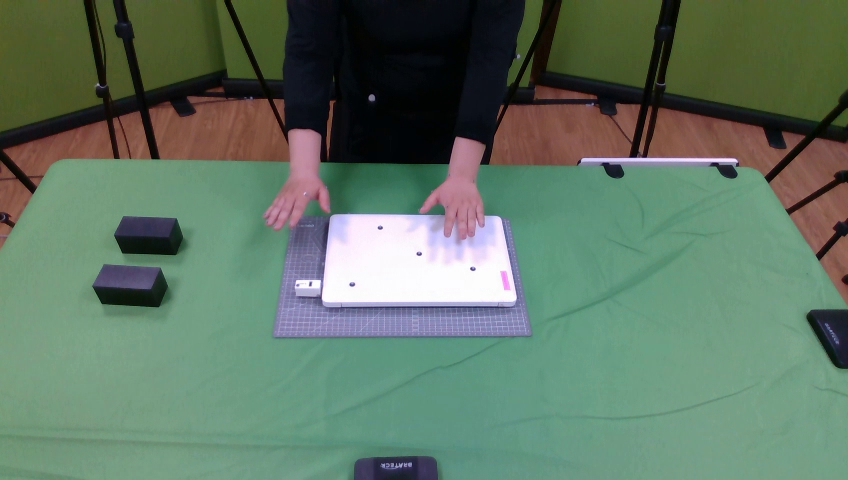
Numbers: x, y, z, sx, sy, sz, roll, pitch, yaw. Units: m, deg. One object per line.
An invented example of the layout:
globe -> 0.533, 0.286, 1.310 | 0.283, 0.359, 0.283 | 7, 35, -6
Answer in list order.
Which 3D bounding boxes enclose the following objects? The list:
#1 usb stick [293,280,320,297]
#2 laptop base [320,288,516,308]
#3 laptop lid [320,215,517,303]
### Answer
usb stick -> -0.201, 0.087, 1.082 | 0.059, 0.027, 0.021 | 3, 48, -4
laptop base -> -0.013, 0.040, 1.160 | 0.355, 0.023, 0.234 | 0, 43, -4
laptop lid -> -0.012, 0.030, 1.153 | 0.357, 0.013, 0.240 | 2, 43, -3
